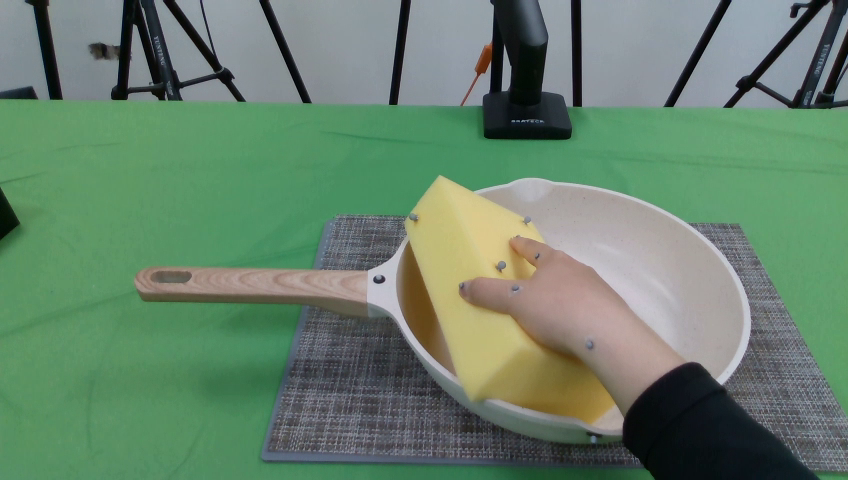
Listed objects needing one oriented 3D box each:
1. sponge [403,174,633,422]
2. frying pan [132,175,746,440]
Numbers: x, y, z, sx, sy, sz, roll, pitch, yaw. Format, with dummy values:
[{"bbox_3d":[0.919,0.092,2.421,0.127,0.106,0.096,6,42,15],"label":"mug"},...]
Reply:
[{"bbox_3d":[0.067,0.044,0.500,0.119,0.061,0.204,22,29,-33],"label":"sponge"},{"bbox_3d":[0.011,0.044,0.515,0.489,0.103,0.303,4,38,-7],"label":"frying pan"}]
